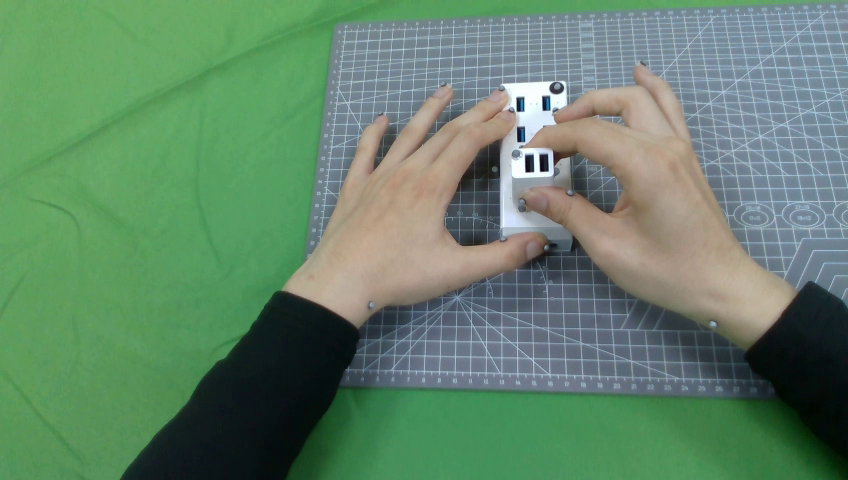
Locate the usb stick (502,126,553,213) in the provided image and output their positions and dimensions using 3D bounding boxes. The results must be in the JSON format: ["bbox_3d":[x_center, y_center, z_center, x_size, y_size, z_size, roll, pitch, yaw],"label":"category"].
[{"bbox_3d":[0.064,-0.044,0.374,0.027,0.060,0.021,-28,57,-8],"label":"usb stick"}]

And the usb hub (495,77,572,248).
[{"bbox_3d":[0.075,-0.056,0.425,0.049,0.025,0.124,0,68,5],"label":"usb hub"}]
